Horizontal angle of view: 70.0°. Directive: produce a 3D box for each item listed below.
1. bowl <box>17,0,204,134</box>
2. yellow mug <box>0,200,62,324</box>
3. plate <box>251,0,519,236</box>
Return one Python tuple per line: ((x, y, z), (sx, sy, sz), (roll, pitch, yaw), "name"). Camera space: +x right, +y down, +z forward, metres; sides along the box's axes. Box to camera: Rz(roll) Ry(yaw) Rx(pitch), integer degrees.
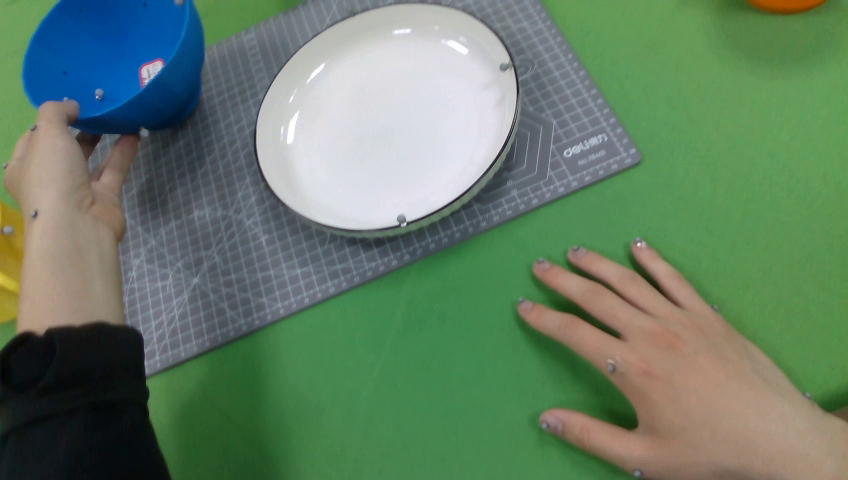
((-0.239, -0.143, 0.500), (0.151, 0.077, 0.150), (-5, 68, 13), "bowl")
((-0.352, 0.019, 0.490), (0.130, 0.064, 0.099), (25, 74, 22), "yellow mug")
((-0.030, -0.094, 0.465), (0.209, 0.038, 0.207), (-5, 65, 12), "plate")
